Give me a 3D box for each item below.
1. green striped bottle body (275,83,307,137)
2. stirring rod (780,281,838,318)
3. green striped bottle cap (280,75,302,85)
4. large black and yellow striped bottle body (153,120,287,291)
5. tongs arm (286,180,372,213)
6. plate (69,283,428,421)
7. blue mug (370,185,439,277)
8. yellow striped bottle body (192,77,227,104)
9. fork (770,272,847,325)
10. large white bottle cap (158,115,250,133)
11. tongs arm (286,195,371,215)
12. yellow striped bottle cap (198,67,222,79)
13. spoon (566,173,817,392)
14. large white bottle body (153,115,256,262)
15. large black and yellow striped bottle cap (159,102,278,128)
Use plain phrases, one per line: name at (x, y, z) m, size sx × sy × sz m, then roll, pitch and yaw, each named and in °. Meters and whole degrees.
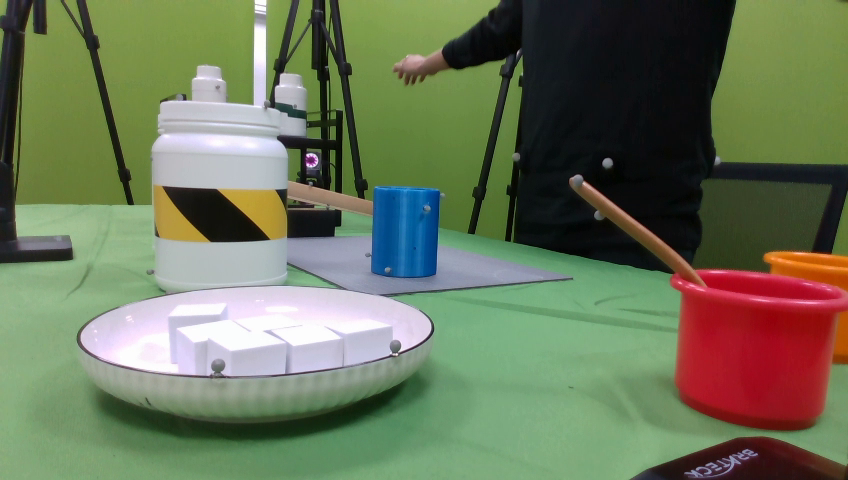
green striped bottle body at (-0.269, -0.269, 1.221) m, size 0.063 × 0.119 × 0.063 m, roll 2°, pitch 7°, yaw 0°
stirring rod at (0.344, 0.019, 0.461) m, size 0.014 × 0.006 × 0.176 m, roll -14°, pitch -26°, yaw -31°
green striped bottle cap at (-0.267, -0.320, 1.216) m, size 0.044 × 0.020 × 0.044 m, roll 2°, pitch 8°, yaw 0°
large black and yellow striped bottle body at (-0.208, -0.042, 0.626) m, size 0.131 × 0.184 × 0.130 m, roll 2°, pitch 7°, yaw 0°
tongs arm at (-0.122, -0.066, 1.147) m, size 0.387 × 0.026 × 0.050 m, roll 11°, pitch -2°, yaw -37°
plate at (-0.102, 0.066, 0.381) m, size 0.208 × 0.039 × 0.207 m, roll 2°, pitch 7°, yaw 0°
blue mug at (-0.025, -0.016, 0.761) m, size 0.082 × 0.106 × 0.116 m, roll 2°, pitch 7°, yaw -2°
yellow striped bottle body at (-0.414, -0.268, 1.169) m, size 0.063 × 0.120 × 0.063 m, roll 2°, pitch 7°, yaw 0°
fork at (0.331, 0.018, 0.443) m, size 0.028 × 0.018 × 0.207 m, roll -1°, pitch -36°, yaw -16°
large white bottle cap at (-0.291, -0.153, 0.803) m, size 0.115 × 0.018 × 0.115 m, roll 1°, pitch 7°, yaw 0°
tongs arm at (-0.165, -0.074, 1.216) m, size 0.389 × 0.027 × 0.028 m, roll 11°, pitch -6°, yaw -24°
yellow striped bottle cap at (-0.412, -0.320, 1.163) m, size 0.044 × 0.018 × 0.044 m, roll 0°, pitch 6°, yaw 0°
spoon at (0.161, 0.024, 0.370) m, size 0.193 × 0.021 × 0.042 m, roll 47°, pitch 18°, yaw 3°
large white bottle body at (-0.293, -0.070, 0.813) m, size 0.131 × 0.184 × 0.130 m, roll 2°, pitch 7°, yaw 0°
large black and yellow striped bottle cap at (-0.207, -0.125, 0.615) m, size 0.115 × 0.019 × 0.115 m, roll 2°, pitch 6°, yaw 0°
